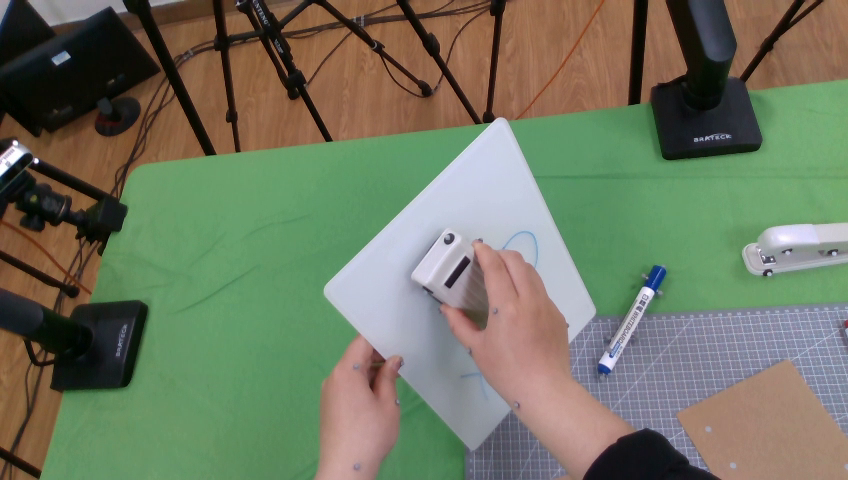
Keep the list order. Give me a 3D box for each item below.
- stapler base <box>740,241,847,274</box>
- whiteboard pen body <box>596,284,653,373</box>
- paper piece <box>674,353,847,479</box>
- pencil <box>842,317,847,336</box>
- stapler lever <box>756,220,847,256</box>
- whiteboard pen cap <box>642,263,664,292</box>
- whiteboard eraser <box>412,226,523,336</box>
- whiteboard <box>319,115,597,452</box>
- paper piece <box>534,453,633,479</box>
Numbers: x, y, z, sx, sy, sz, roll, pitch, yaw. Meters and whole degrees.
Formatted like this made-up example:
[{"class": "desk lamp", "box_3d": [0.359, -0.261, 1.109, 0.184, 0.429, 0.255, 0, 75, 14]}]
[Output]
[{"class": "stapler base", "box_3d": [0.434, 0.007, 0.690, 0.130, 0.024, 0.041, -9, 63, 6]}, {"class": "whiteboard pen body", "box_3d": [0.235, 0.090, 0.692, 0.017, 0.017, 0.140, 27, 71, 25]}, {"class": "paper piece", "box_3d": [0.349, 0.203, 0.609, 0.136, 0.009, 0.137, -27, 62, 3]}, {"class": "pencil", "box_3d": [0.455, 0.168, 0.602, 0.012, 0.012, 0.192, -8, 63, 9]}, {"class": "stapler lever", "box_3d": [0.430, -0.004, 0.669, 0.118, 0.040, 0.026, -10, 63, 8]}, {"class": "whiteboard pen cap", "box_3d": [0.268, 0.045, 0.708, 0.018, 0.018, 0.033, 24, 68, 24]}, {"class": "whiteboard eraser", "box_3d": [0.039, 0.038, 0.542, 0.055, 0.114, 0.041, -50, 40, -3]}, {"class": "whiteboard", "box_3d": [0.023, 0.038, 0.641, 0.217, 0.309, 0.142, -44, 40, -11]}, {"class": "paper piece", "box_3d": [0.161, 0.297, 0.601, 0.135, 0.004, 0.134, -18, 59, 2]}]
